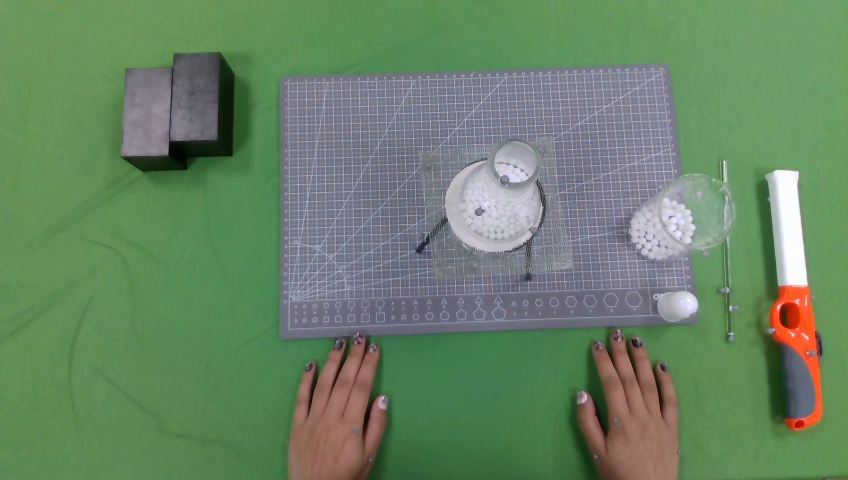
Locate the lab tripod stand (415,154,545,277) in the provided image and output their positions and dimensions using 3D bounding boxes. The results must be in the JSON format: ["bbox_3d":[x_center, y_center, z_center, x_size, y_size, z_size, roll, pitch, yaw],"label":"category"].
[{"bbox_3d":[0.060,-0.020,0.604,0.148,0.132,0.148,0,82,0],"label":"lab tripod stand"}]

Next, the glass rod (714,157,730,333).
[{"bbox_3d":[0.330,0.003,0.671,0.008,0.008,0.199,2,79,-1],"label":"glass rod"}]

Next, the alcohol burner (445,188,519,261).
[{"bbox_3d":[0.060,-0.020,0.614,0.078,0.119,0.077,0,78,1],"label":"alcohol burner"}]

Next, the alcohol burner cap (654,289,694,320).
[{"bbox_3d":[0.266,0.066,0.638,0.034,0.048,0.033,0,79,0],"label":"alcohol burner cap"}]

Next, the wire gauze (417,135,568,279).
[{"bbox_3d":[0.061,-0.029,0.539,0.125,0.011,0.121,-6,82,-4],"label":"wire gauze"}]

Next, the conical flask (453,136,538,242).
[{"bbox_3d":[0.062,-0.045,0.481,0.075,0.122,0.075,0,80,0],"label":"conical flask"}]

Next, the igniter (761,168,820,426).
[{"bbox_3d":[0.392,0.057,0.651,0.057,0.025,0.275,2,80,-10],"label":"igniter"}]

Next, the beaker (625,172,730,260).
[{"bbox_3d":[0.257,-0.022,0.624,0.084,0.100,0.074,-39,82,-7],"label":"beaker"}]
